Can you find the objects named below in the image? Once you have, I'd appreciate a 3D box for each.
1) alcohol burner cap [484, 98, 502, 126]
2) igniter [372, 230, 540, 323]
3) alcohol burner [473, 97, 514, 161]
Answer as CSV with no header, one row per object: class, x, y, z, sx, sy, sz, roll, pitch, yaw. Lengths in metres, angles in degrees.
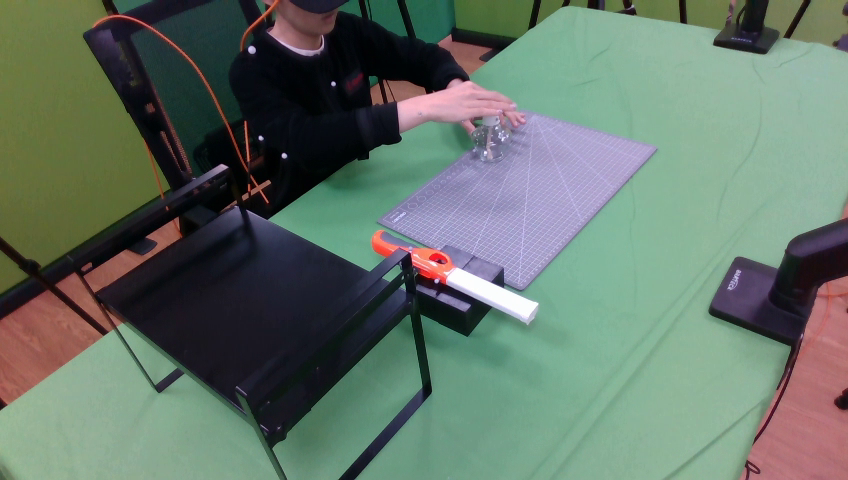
alcohol burner cap,0.125,-0.235,1.100,0.034,0.048,0.033,-8,37,6
igniter,0.032,0.045,0.843,0.274,0.025,0.057,24,47,29
alcohol burner,0.128,-0.208,1.123,0.078,0.119,0.077,-5,39,5
